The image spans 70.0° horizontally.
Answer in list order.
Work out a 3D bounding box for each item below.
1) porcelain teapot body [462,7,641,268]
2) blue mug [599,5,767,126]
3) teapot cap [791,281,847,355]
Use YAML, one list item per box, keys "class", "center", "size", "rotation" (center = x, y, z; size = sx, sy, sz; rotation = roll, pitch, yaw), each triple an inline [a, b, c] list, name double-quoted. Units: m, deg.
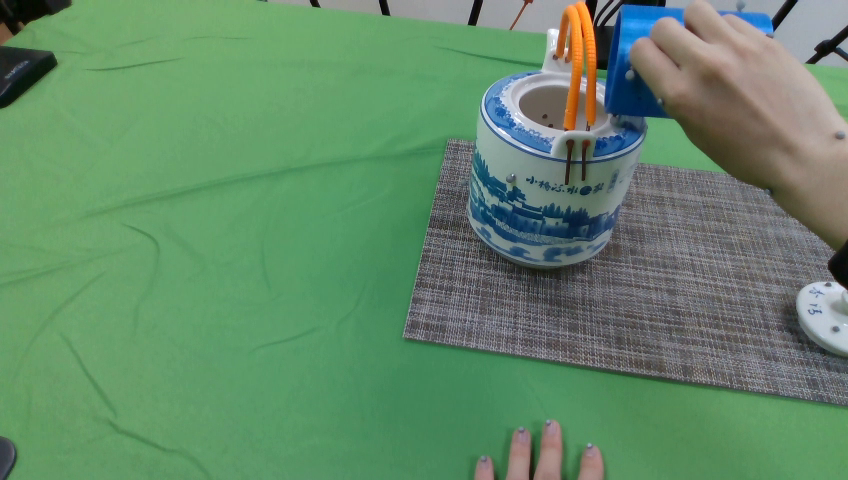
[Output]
- class: "porcelain teapot body"
  center: [0.115, -0.111, 0.561]
  size: [0.145, 0.227, 0.203]
  rotation: [3, 44, -1]
- class: "blue mug"
  center: [0.191, -0.131, 0.454]
  size: [0.105, 0.082, 0.116]
  rotation: [7, 17, 10]
- class: "teapot cap"
  center: [0.370, 0.064, 0.533]
  size: [0.085, 0.044, 0.084]
  rotation: [4, 43, -3]
